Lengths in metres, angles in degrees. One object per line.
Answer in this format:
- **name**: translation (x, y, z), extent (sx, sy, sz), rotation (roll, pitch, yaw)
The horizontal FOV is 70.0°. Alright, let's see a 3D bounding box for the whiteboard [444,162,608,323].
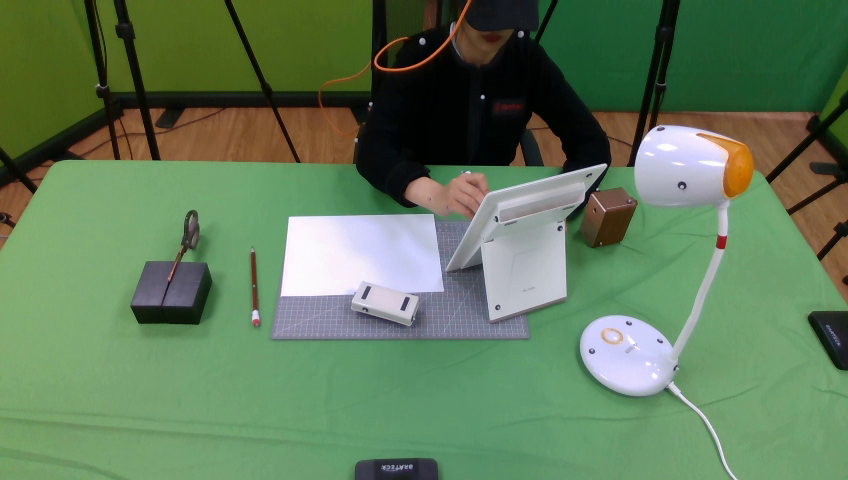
- **whiteboard**: translation (0.186, 0.026, 1.029), extent (0.217, 0.306, 0.143), rotation (-14, 68, -17)

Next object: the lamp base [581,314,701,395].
- **lamp base**: translation (0.361, 0.144, 0.973), extent (0.178, 0.181, 0.160), rotation (34, 53, 23)

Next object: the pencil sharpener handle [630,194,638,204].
- **pencil sharpener handle**: translation (0.417, -0.068, 1.215), extent (0.031, 0.068, 0.036), rotation (-11, 60, -14)

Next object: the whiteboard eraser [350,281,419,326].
- **whiteboard eraser**: translation (-0.069, 0.113, 1.065), extent (0.112, 0.042, 0.055), rotation (14, 46, 9)

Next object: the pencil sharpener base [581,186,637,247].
- **pencil sharpener base**: translation (0.369, -0.047, 1.209), extent (0.077, 0.107, 0.061), rotation (-11, 47, -14)

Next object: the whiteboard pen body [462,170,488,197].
- **whiteboard pen body**: translation (0.104, -0.082, 1.049), extent (0.017, 0.017, 0.140), rotation (-18, 43, -20)

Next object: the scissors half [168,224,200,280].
- **scissors half**: translation (-0.440, 0.023, 1.111), extent (0.013, 0.040, 0.174), rotation (7, 29, -6)

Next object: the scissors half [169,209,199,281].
- **scissors half**: translation (-0.438, 0.007, 1.098), extent (0.013, 0.040, 0.174), rotation (3, 48, -3)

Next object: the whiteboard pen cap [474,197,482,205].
- **whiteboard pen cap**: translation (0.123, -0.079, 1.287), extent (0.033, 0.018, 0.018), rotation (25, 50, 23)

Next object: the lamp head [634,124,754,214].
- **lamp head**: translation (0.351, -0.089, 0.776), extent (0.112, 0.113, 0.122), rotation (-30, 30, -28)

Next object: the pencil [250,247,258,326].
- **pencil**: translation (-0.312, 0.079, 1.107), extent (0.012, 0.012, 0.192), rotation (-7, 46, -11)
